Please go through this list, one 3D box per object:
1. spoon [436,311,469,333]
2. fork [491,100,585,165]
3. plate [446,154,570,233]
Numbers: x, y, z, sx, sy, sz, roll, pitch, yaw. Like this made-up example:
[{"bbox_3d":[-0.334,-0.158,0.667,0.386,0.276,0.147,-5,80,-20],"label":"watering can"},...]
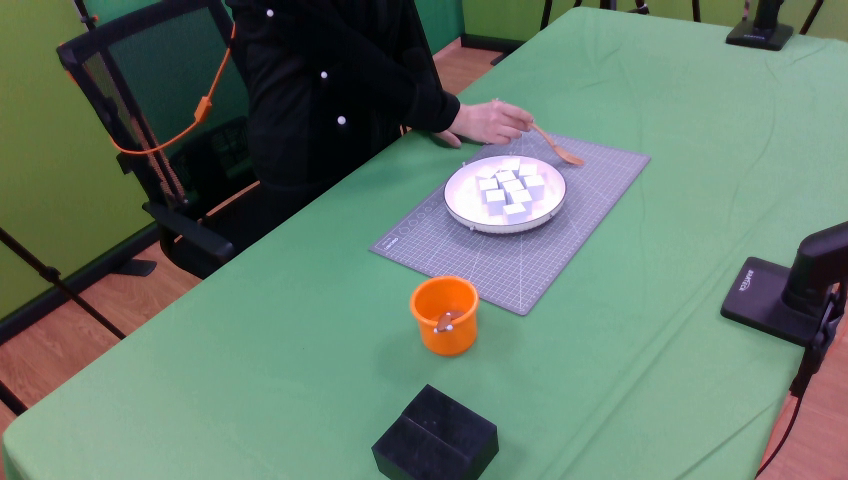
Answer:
[{"bbox_3d":[0.030,0.102,0.761,0.041,0.194,0.021,2,85,8],"label":"spoon"},{"bbox_3d":[0.209,-0.198,1.113,0.207,0.018,0.028,38,39,2],"label":"fork"},{"bbox_3d":[0.142,-0.076,1.033,0.207,0.039,0.206,-5,40,5],"label":"plate"}]
